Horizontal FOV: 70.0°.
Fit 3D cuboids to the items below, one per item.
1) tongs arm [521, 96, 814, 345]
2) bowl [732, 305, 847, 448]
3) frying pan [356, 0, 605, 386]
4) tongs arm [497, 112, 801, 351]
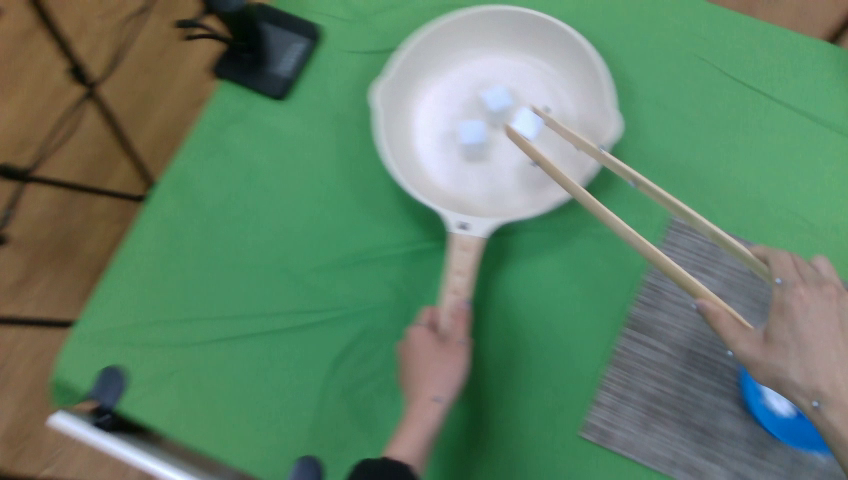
[{"bbox_3d":[0.210,-0.042,0.599,0.051,0.027,0.380,-38,53,-10],"label":"tongs arm"},{"bbox_3d":[0.409,0.150,0.673,0.151,0.077,0.150,0,76,2],"label":"bowl"},{"bbox_3d":[0.049,-0.068,0.731,0.306,0.103,0.485,9,69,6],"label":"frying pan"},{"bbox_3d":[0.189,-0.027,0.597,0.028,0.028,0.383,-33,52,-10],"label":"tongs arm"}]
